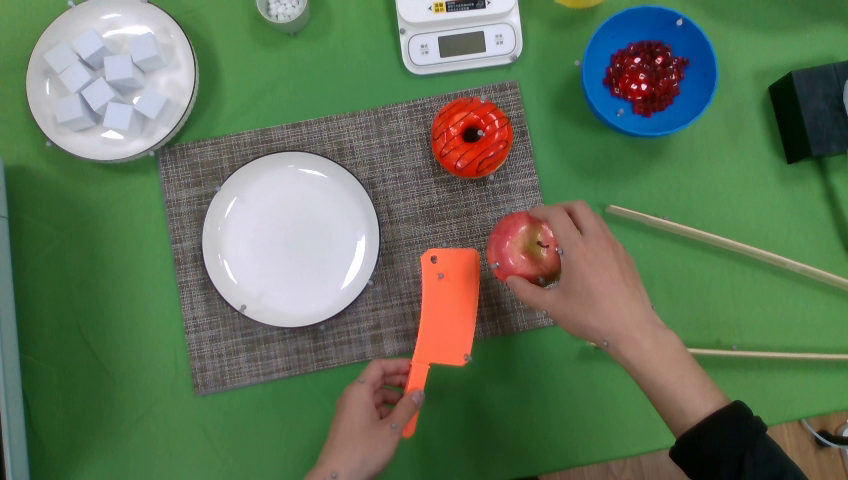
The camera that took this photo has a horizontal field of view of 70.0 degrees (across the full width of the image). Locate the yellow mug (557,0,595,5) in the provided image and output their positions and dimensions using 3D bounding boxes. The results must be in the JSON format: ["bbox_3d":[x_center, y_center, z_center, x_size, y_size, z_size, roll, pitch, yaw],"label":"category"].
[{"bbox_3d":[0.178,-0.356,0.727,0.100,0.064,0.130,-43,85,-3],"label":"yellow mug"}]

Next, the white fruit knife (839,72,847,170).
[{"bbox_3d":[0.490,-0.086,0.690,0.016,0.027,0.208,-13,99,1],"label":"white fruit knife"}]

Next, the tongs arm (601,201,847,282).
[{"bbox_3d":[0.395,0.020,0.708,0.387,0.028,0.028,19,77,4],"label":"tongs arm"}]

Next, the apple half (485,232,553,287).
[{"bbox_3d":[0.087,0.027,0.605,0.081,0.081,0.032,34,76,4],"label":"apple half"}]

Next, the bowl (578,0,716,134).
[{"bbox_3d":[0.247,-0.189,0.705,0.151,0.077,0.151,0,85,1],"label":"bowl"}]

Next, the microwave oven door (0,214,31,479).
[{"bbox_3d":[-0.491,0.134,0.590,0.039,0.244,0.355,-9,84,1],"label":"microwave oven door"}]

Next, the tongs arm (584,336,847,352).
[{"bbox_3d":[0.380,0.104,0.696,0.385,0.026,0.050,4,79,2],"label":"tongs arm"}]

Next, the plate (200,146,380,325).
[{"bbox_3d":[-0.154,-0.005,0.713,0.209,0.038,0.208,0,85,2],"label":"plate"}]

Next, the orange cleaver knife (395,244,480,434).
[{"bbox_3d":[0.017,0.101,0.644,0.077,0.012,0.210,14,78,-15],"label":"orange cleaver knife"}]

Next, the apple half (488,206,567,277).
[{"bbox_3d":[0.109,-0.004,0.613,0.081,0.075,0.053,34,77,3],"label":"apple half"}]

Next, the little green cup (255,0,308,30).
[{"bbox_3d":[-0.172,-0.290,0.742,0.061,0.039,0.061,0,84,2],"label":"little green cup"}]

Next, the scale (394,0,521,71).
[{"bbox_3d":[0.035,-0.314,0.743,0.149,0.031,0.200,-7,85,1],"label":"scale"}]

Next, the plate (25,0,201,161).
[{"bbox_3d":[-0.372,-0.196,0.738,0.208,0.039,0.207,0,85,1],"label":"plate"}]

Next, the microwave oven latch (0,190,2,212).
[{"bbox_3d":[-0.518,-0.072,0.711,0.030,0.029,0.079,-6,85,0],"label":"microwave oven latch"}]

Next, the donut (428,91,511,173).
[{"bbox_3d":[0.053,-0.128,0.716,0.099,0.048,0.099,0,86,3],"label":"donut"}]
